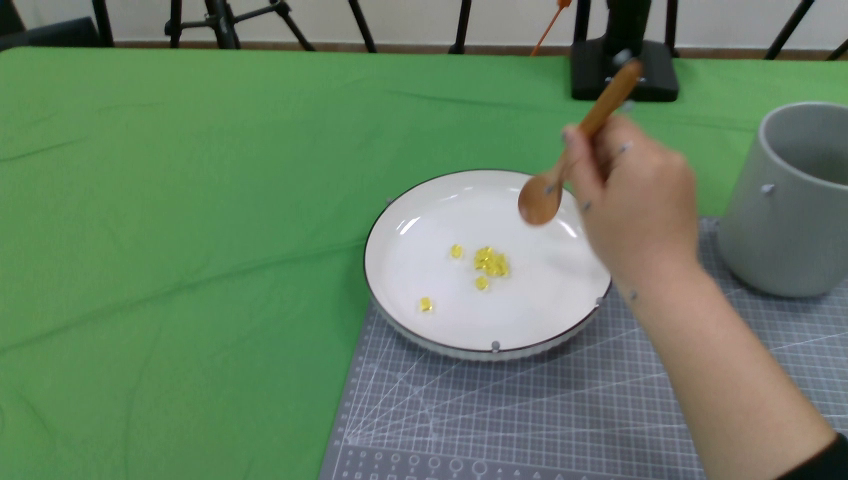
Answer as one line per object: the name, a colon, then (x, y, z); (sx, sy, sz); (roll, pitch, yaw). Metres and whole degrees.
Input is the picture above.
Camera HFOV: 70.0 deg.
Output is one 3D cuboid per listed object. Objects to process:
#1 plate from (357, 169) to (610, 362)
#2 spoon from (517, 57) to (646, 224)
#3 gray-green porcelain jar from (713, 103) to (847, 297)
plate: (0.048, 0.020, 0.515); (0.207, 0.039, 0.205); (-2, 46, 2)
spoon: (0.103, -0.061, 0.425); (0.022, 0.194, 0.041); (-18, 72, -14)
gray-green porcelain jar: (0.295, -0.026, 0.479); (0.106, 0.128, 0.105); (-2, 46, 3)
